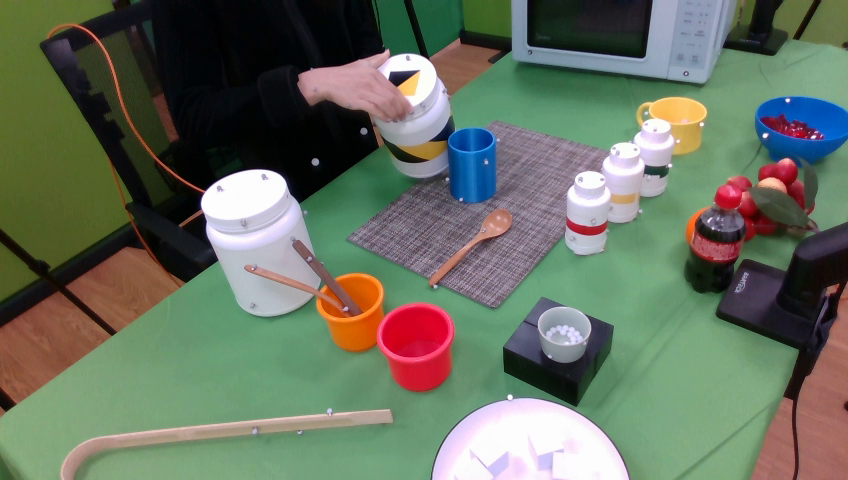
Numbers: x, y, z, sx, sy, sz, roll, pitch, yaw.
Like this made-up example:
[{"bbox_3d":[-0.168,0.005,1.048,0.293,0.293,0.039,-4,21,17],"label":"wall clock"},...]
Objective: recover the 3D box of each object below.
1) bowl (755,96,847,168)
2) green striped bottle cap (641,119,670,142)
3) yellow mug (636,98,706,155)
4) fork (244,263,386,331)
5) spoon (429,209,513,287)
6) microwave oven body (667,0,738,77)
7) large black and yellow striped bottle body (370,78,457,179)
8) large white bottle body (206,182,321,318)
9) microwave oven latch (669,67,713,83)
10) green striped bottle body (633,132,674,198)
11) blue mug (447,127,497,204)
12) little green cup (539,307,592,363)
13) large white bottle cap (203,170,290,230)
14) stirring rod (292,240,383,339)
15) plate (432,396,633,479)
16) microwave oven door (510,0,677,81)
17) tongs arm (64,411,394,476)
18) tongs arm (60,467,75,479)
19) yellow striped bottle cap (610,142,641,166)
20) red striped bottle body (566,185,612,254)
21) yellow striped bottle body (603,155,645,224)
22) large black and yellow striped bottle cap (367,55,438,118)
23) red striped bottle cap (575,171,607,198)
[{"bbox_3d":[0.645,-0.177,1.041,0.151,0.077,0.150,-5,40,4],"label":"bowl"},{"bbox_3d":[0.371,-0.175,0.968,0.044,0.020,0.044,-5,42,5],"label":"green striped bottle cap"},{"bbox_3d":[0.453,-0.217,1.128,0.100,0.064,0.129,-34,46,-27],"label":"yellow mug"},{"bbox_3d":[-0.141,0.077,0.807,0.209,0.018,0.028,30,44,-24],"label":"fork"},{"bbox_3d":[0.072,0.012,0.945,0.041,0.021,0.194,40,57,18],"label":"spoon"},{"bbox_3d":[0.462,-0.552,1.369,0.439,0.261,0.326,15,45,26],"label":"microwave oven body"},{"bbox_3d":[-0.016,-0.204,1.032,0.130,0.185,0.130,-5,62,11],"label":"large black and yellow striped bottle body"},{"bbox_3d":[-0.233,0.007,0.876,0.130,0.185,0.130,-5,40,4],"label":"large white bottle body"},{"bbox_3d":[0.556,-0.349,1.261,0.078,0.029,0.030,16,46,27],"label":"microwave oven latch"},{"bbox_3d":[0.376,-0.135,1.001,0.063,0.120,0.063,-5,40,5],"label":"green striped bottle body"},{"bbox_3d":[0.085,-0.139,1.056,0.082,0.106,0.116,0,41,6],"label":"blue mug"},{"bbox_3d":[0.168,0.115,0.721,0.061,0.039,0.061,-4,42,4],"label":"little green cup"},{"bbox_3d":[-0.241,-0.057,0.822,0.115,0.018,0.114,-4,41,4],"label":"large white bottle cap"},{"bbox_3d":[-0.118,0.068,0.826,0.176,0.006,0.014,49,59,-4],"label":"stirring rod"},{"bbox_3d":[0.112,0.261,0.634,0.209,0.038,0.208,-5,40,4],"label":"plate"},{"bbox_3d":[0.354,-0.478,1.290,0.353,0.245,0.039,15,45,25],"label":"microwave oven door"},{"bbox_3d":[-0.228,0.241,0.715,0.385,0.026,0.050,-5,43,4],"label":"tongs arm"},{"bbox_3d":[-0.239,0.301,0.648,0.386,0.028,0.028,6,49,16],"label":"tongs arm"},{"bbox_3d":[0.308,-0.131,0.925,0.044,0.019,0.044,-4,45,4],"label":"yellow striped bottle cap"},{"bbox_3d":[0.248,-0.041,0.910,0.063,0.120,0.062,-4,41,4],"label":"red striped bottle body"},{"bbox_3d":[0.314,-0.090,0.957,0.063,0.121,0.062,-4,40,4],"label":"yellow striped bottle body"},{"bbox_3d":[-0.034,-0.244,0.959,0.115,0.019,0.114,-5,63,11],"label":"large black and yellow striped bottle cap"},{"bbox_3d":[0.242,-0.082,0.876,0.044,0.018,0.044,-5,44,5],"label":"red striped bottle cap"}]
